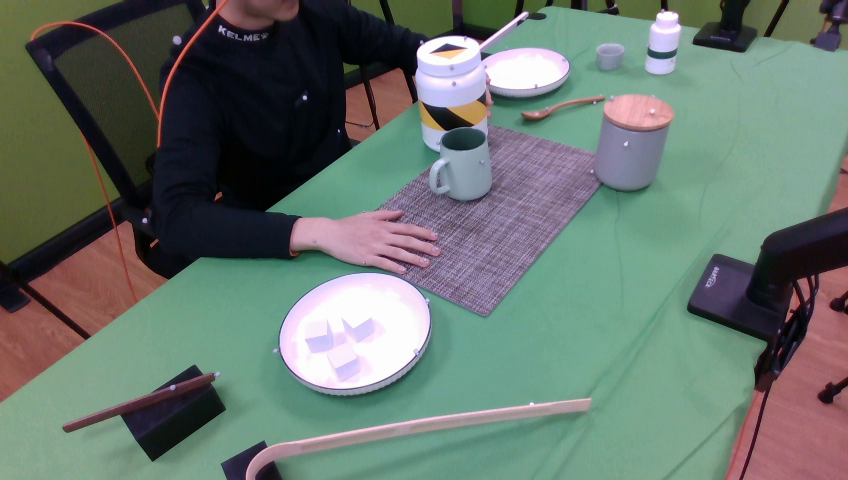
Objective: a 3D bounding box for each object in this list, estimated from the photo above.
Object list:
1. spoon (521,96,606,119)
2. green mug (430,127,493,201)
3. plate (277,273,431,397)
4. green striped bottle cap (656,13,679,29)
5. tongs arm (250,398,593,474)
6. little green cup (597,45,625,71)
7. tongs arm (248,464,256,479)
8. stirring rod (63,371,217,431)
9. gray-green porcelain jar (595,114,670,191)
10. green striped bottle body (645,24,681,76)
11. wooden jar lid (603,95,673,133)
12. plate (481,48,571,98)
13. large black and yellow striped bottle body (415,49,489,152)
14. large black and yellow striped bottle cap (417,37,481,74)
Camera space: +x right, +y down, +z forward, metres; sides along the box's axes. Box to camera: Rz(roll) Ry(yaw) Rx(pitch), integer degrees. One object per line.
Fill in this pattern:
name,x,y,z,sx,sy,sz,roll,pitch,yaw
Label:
spoon,0.291,-0.277,1.249,0.194,0.022,0.041,-17,25,-11
green mug,0.059,-0.122,1.034,0.126,0.105,0.091,-35,48,-28
plate,-0.091,0.129,0.821,0.207,0.039,0.206,-4,40,4
green striped bottle cap,0.515,-0.463,1.278,0.044,0.020,0.044,-6,42,6
tongs arm,0.008,0.212,0.675,0.389,0.028,0.028,-5,46,-11
little green cup,0.423,-0.413,1.375,0.061,0.039,0.061,-3,41,3
tongs arm,0.012,0.262,0.615,0.385,0.026,0.050,2,41,-2
stirring rod,-0.337,0.192,0.723,0.177,0.014,0.005,-18,43,-12
gray-green porcelain jar,0.346,-0.155,1.017,0.106,0.127,0.105,-2,44,2
green striped bottle body,0.520,-0.424,1.312,0.063,0.120,0.063,-4,41,4
wooden jar lid,0.343,-0.200,0.974,0.108,0.021,0.108,-2,39,2
plate,0.223,-0.371,1.357,0.209,0.038,0.208,-4,41,4
large black and yellow striped bottle body,0.054,-0.272,1.147,0.131,0.185,0.130,-5,41,5
large black and yellow striped bottle cap,0.045,-0.335,1.094,0.115,0.019,0.114,-4,43,5
